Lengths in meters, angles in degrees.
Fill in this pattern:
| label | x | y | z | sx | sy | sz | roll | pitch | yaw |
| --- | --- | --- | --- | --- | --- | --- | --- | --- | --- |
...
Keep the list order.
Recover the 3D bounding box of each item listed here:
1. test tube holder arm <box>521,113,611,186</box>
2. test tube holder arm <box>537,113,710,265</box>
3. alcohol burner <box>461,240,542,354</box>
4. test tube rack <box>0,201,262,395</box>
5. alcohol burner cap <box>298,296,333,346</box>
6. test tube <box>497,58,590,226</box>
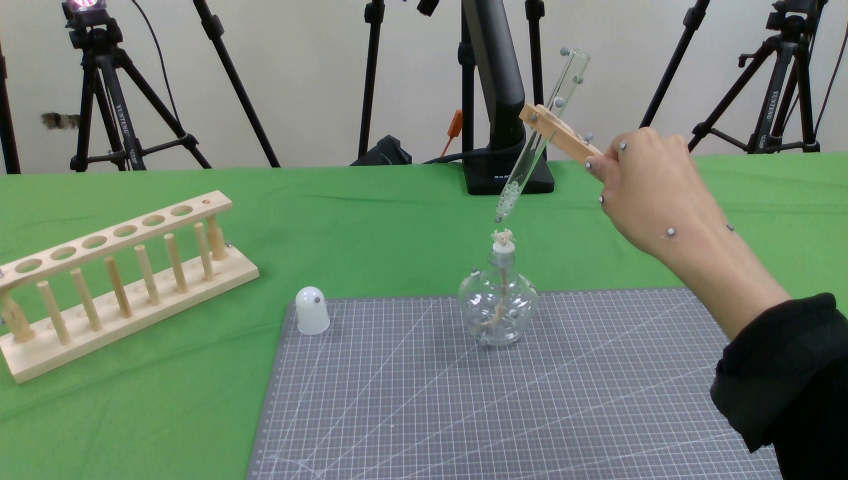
| label | x | y | z | sx | sy | sz | roll | pitch | yaw |
| --- | --- | --- | --- | --- | --- | --- | --- | --- | --- |
| test tube holder arm | 0.110 | -0.071 | 0.469 | 0.010 | 0.015 | 0.087 | -15 | 49 | -44 |
| test tube holder arm | 0.139 | -0.044 | 0.449 | 0.013 | 0.015 | 0.176 | -7 | 44 | -38 |
| alcohol burner | 0.073 | 0.049 | 0.568 | 0.078 | 0.120 | 0.077 | 0 | 35 | 0 |
| test tube rack | -0.294 | 0.049 | 0.611 | 0.243 | 0.086 | 0.066 | -26 | 40 | -33 |
| alcohol burner cap | -0.108 | 0.077 | 0.597 | 0.034 | 0.048 | 0.033 | 0 | 34 | 0 |
| test tube | 0.094 | -0.074 | 0.492 | 0.017 | 0.151 | 0.017 | 17 | 30 | -10 |
